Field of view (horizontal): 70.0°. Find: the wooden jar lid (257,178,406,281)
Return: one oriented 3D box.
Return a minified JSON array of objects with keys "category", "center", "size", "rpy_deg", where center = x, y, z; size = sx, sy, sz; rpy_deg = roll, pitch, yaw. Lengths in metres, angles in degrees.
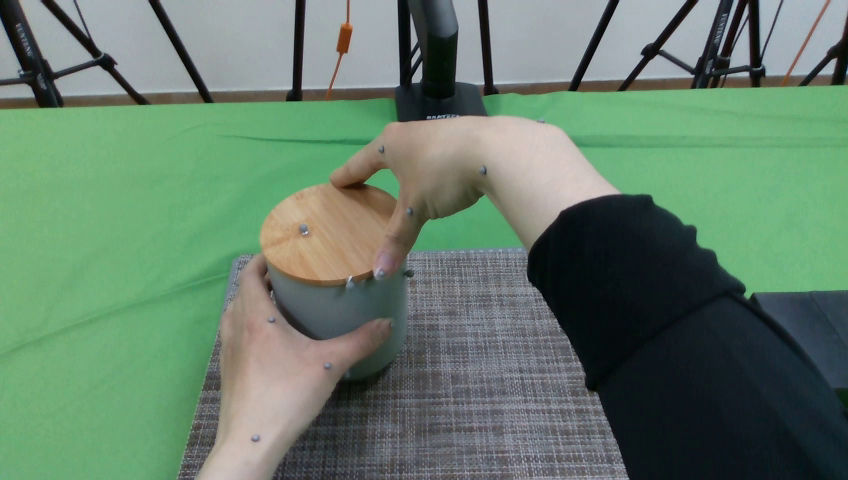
[{"category":"wooden jar lid","center":[-0.067,-0.007,0.447],"size":[0.108,0.021,0.107],"rpy_deg":[0,44,0]}]

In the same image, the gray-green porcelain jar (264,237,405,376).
[{"category":"gray-green porcelain jar","center":[-0.068,0.039,0.489],"size":[0.106,0.127,0.105],"rpy_deg":[1,43,0]}]
